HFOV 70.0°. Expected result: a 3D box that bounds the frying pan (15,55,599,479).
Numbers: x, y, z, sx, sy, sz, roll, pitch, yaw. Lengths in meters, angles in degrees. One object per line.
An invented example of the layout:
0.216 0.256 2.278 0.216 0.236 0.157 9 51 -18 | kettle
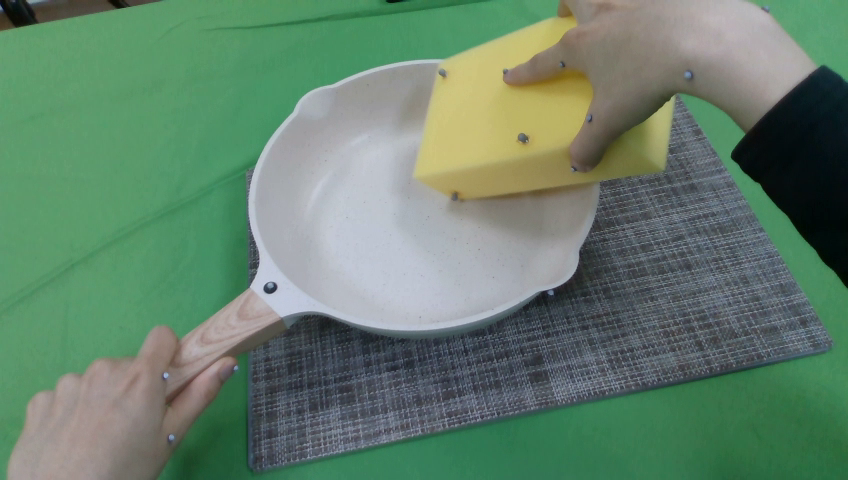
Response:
-0.075 0.012 0.482 0.487 0.103 0.304 -36 59 -27 | frying pan

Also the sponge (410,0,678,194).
0.089 -0.111 0.492 0.205 0.061 0.117 -5 69 47 | sponge
